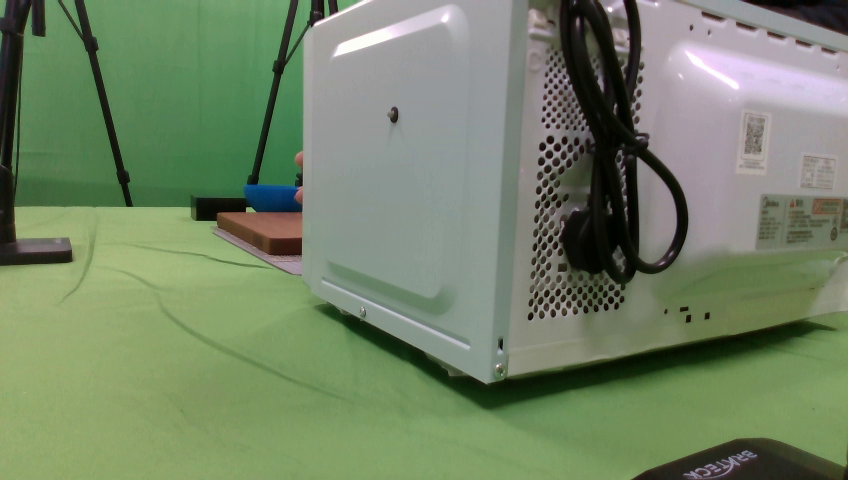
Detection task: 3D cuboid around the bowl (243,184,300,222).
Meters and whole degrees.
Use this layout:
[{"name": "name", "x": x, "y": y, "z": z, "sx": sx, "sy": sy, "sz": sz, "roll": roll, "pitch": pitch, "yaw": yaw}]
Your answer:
[{"name": "bowl", "x": -0.322, "y": -0.081, "z": 1.334, "sx": 0.151, "sy": 0.077, "sz": 0.151, "roll": 3, "pitch": 8, "yaw": 0}]

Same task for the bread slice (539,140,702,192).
[{"name": "bread slice", "x": 0.194, "y": -0.072, "z": 0.582, "sx": 0.107, "sy": 0.018, "sz": 0.133, "roll": -1, "pitch": 20, "yaw": -35}]

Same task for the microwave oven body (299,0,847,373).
[{"name": "microwave oven body", "x": 0.152, "y": -0.055, "z": 0.542, "sx": 0.444, "sy": 0.260, "sz": 0.324, "roll": -2, "pitch": 8, "yaw": -33}]

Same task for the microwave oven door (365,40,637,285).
[{"name": "microwave oven door", "x": 0.105, "y": -0.081, "z": 0.693, "sx": 0.358, "sy": 0.243, "sz": 0.039, "roll": -2, "pitch": 9, "yaw": -30}]

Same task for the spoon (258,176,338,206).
[{"name": "spoon", "x": -0.279, "y": -0.112, "z": 1.356, "sx": 0.194, "sy": 0.021, "sz": 0.041, "roll": -27, "pitch": 19, "yaw": -27}]

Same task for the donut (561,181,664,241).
[{"name": "donut", "x": 0.187, "y": -0.030, "z": 0.602, "sx": 0.099, "sy": 0.048, "sz": 0.099, "roll": 10, "pitch": -8, "yaw": 2}]

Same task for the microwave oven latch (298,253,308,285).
[{"name": "microwave oven latch", "x": -0.081, "y": 0.027, "z": 0.583, "sx": 0.079, "sy": 0.029, "sz": 0.030, "roll": -2, "pitch": 8, "yaw": -33}]

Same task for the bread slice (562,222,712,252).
[{"name": "bread slice", "x": 0.207, "y": -0.005, "z": 0.577, "sx": 0.105, "sy": 0.019, "sz": 0.131, "roll": 2, "pitch": 5, "yaw": -11}]
